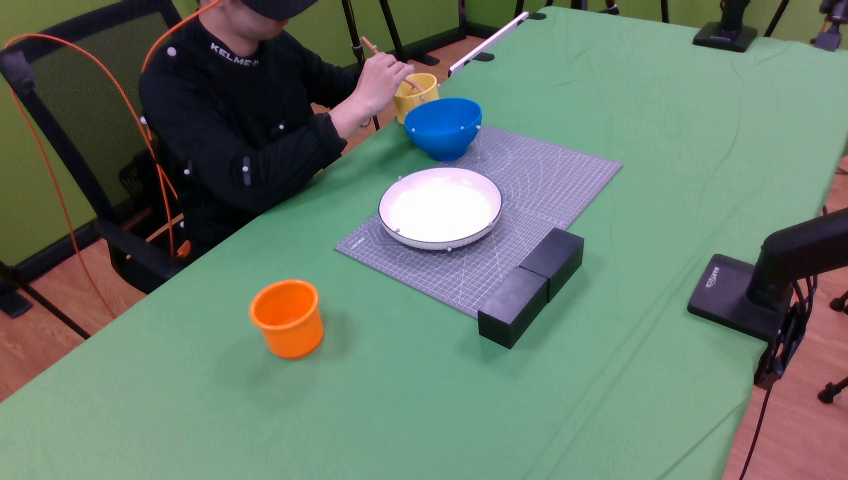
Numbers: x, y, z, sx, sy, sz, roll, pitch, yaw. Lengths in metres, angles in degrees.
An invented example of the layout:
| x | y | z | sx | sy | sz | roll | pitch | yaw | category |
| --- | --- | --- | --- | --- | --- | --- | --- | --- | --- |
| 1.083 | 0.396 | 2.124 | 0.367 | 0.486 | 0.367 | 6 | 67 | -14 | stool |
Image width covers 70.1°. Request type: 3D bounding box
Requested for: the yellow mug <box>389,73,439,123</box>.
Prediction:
| x | y | z | sx | sy | sz | roll | pitch | yaw | category |
| --- | --- | --- | --- | --- | --- | --- | --- | --- | --- |
| -0.024 | -0.298 | 1.255 | 0.100 | 0.064 | 0.129 | -29 | 39 | -14 | yellow mug |

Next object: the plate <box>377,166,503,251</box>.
| x | y | z | sx | sy | sz | roll | pitch | yaw | category |
| --- | --- | --- | --- | --- | --- | --- | --- | --- | --- |
| 0.027 | -0.050 | 1.007 | 0.209 | 0.038 | 0.208 | -4 | 41 | 4 | plate |

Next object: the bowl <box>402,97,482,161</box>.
| x | y | z | sx | sy | sz | roll | pitch | yaw | category |
| --- | --- | --- | --- | --- | --- | --- | --- | --- | --- |
| 0.040 | -0.203 | 1.154 | 0.151 | 0.077 | 0.150 | -7 | 38 | 6 | bowl |

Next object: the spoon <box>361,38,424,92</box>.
| x | y | z | sx | sy | sz | roll | pitch | yaw | category |
| --- | --- | --- | --- | --- | --- | --- | --- | --- | --- |
| -0.052 | -0.329 | 1.197 | 0.021 | 0.195 | 0.041 | -48 | 25 | 15 | spoon |
